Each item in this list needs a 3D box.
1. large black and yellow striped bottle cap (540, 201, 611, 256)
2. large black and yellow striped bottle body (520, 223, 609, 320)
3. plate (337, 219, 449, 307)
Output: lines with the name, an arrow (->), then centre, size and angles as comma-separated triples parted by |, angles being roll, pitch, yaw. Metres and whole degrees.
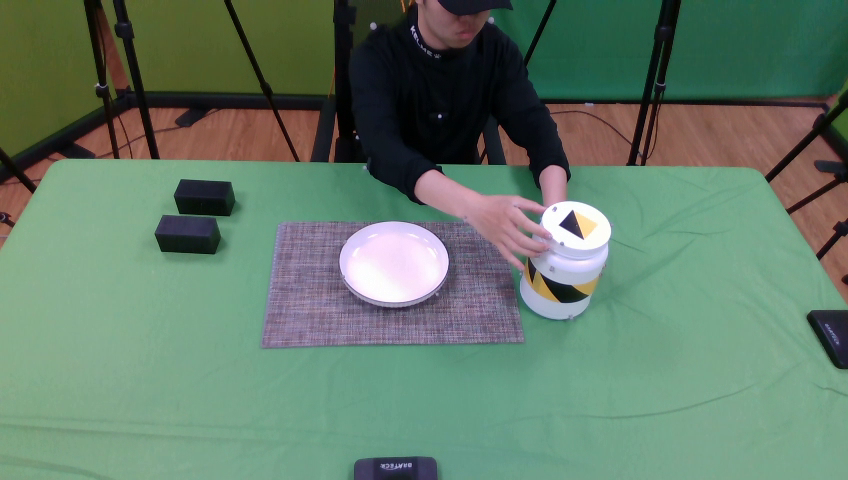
large black and yellow striped bottle cap -> 0.250, -0.022, 1.004 | 0.115, 0.019, 0.114 | 3, 47, -3
large black and yellow striped bottle body -> 0.247, 0.038, 1.065 | 0.131, 0.185, 0.130 | 2, 46, -2
plate -> -0.057, 0.045, 1.132 | 0.208, 0.039, 0.206 | 2, 46, -2
